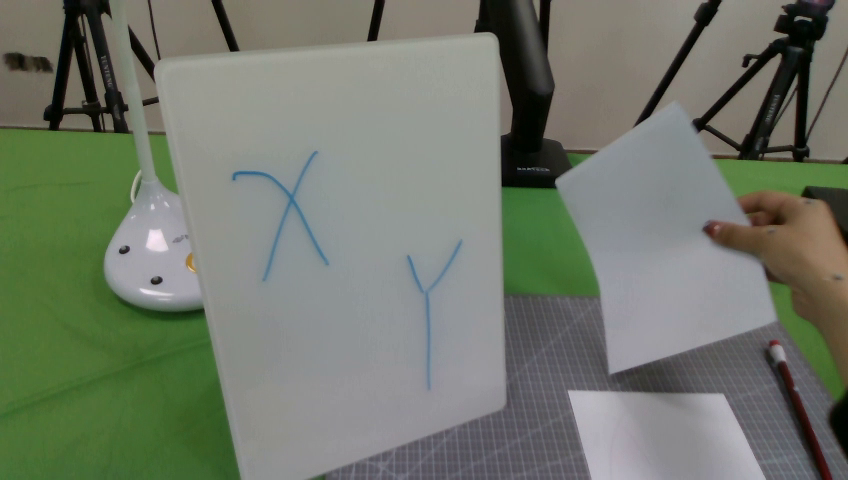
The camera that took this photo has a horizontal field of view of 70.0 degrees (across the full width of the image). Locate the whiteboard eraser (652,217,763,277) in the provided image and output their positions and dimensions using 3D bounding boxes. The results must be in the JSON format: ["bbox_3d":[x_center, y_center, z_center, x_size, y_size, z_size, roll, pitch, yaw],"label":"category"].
[{"bbox_3d":[0.320,0.009,0.691,0.112,0.042,0.055,11,39,7],"label":"whiteboard eraser"}]

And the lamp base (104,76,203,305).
[{"bbox_3d":[-0.246,-0.056,0.585,0.177,0.182,0.160,27,42,29],"label":"lamp base"}]

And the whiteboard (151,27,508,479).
[{"bbox_3d":[-0.066,0.002,0.477,0.218,0.307,0.142,-13,22,-21],"label":"whiteboard"}]

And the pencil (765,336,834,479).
[{"bbox_3d":[0.327,0.155,0.520,0.012,0.012,0.192,8,39,4],"label":"pencil"}]
